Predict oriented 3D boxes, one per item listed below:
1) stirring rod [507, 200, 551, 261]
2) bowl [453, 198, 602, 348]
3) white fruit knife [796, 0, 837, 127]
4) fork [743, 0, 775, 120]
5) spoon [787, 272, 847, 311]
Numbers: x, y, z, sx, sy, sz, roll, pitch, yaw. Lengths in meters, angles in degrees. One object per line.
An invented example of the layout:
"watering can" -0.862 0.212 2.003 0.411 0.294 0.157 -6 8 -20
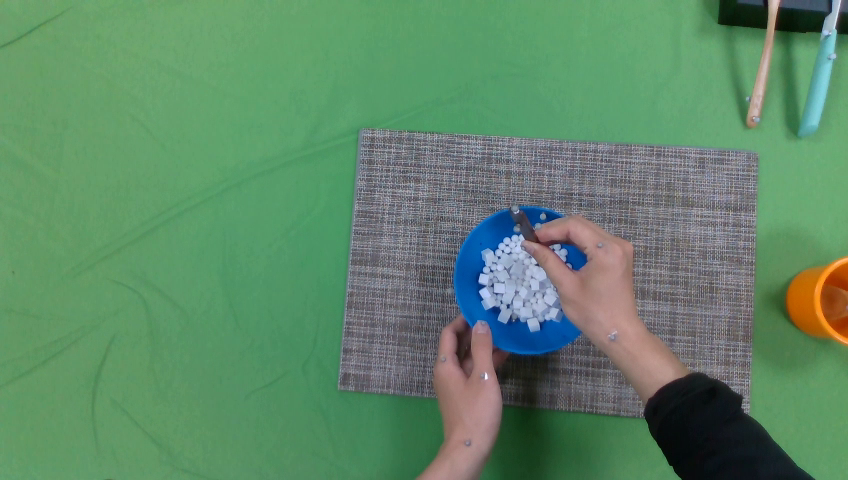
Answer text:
"stirring rod" 0.103 -0.005 0.578 0.014 0.177 0.006 16 79 23
"bowl" 0.105 0.036 0.642 0.151 0.077 0.151 0 85 3
"white fruit knife" 0.429 -0.226 0.647 0.016 0.027 0.208 5 102 1
"fork" 0.367 -0.235 0.652 0.028 0.018 0.208 1 105 0
"spoon" 0.466 0.056 0.593 0.022 0.192 0.041 9 85 -41
